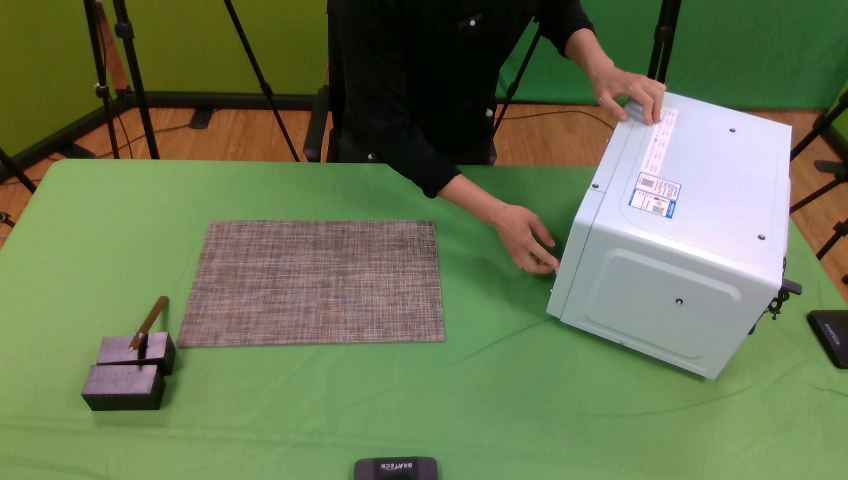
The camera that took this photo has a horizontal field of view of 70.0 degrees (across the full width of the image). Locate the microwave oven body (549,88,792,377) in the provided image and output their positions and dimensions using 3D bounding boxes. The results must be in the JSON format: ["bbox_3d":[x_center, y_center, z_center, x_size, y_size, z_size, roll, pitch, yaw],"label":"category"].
[{"bbox_3d":[0.456,-0.028,1.088,0.325,0.261,0.440,20,47,16],"label":"microwave oven body"}]

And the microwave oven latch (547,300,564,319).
[{"bbox_3d":[0.242,0.102,1.081,0.030,0.029,0.079,22,48,17],"label":"microwave oven latch"}]

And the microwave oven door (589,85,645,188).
[{"bbox_3d":[0.342,-0.107,1.149,0.039,0.245,0.354,20,48,15],"label":"microwave oven door"}]

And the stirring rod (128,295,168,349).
[{"bbox_3d":[-0.451,0.131,0.996,0.014,0.006,0.175,9,20,-10],"label":"stirring rod"}]
